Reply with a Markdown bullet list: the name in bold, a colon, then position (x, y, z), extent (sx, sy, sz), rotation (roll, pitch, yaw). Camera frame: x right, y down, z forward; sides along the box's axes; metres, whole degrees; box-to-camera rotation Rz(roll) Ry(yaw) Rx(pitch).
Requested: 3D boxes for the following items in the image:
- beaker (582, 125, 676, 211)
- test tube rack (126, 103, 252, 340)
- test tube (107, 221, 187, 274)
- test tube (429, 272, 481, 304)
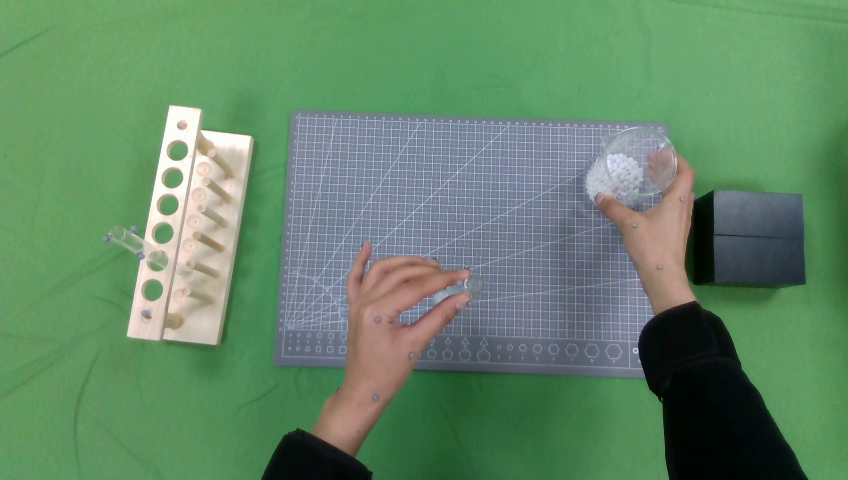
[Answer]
- **beaker**: position (0.217, -0.076, 0.666), extent (0.084, 0.100, 0.074), rotation (35, 82, 6)
- **test tube rack**: position (-0.250, -0.016, 0.659), extent (0.067, 0.085, 0.241), rotation (7, 81, 1)
- **test tube**: position (-0.271, 0.011, 0.605), extent (0.017, 0.151, 0.017), rotation (0, 74, 1)
- **test tube**: position (0.026, 0.046, 0.561), extent (0.017, 0.150, 0.017), rotation (2, 79, -11)
